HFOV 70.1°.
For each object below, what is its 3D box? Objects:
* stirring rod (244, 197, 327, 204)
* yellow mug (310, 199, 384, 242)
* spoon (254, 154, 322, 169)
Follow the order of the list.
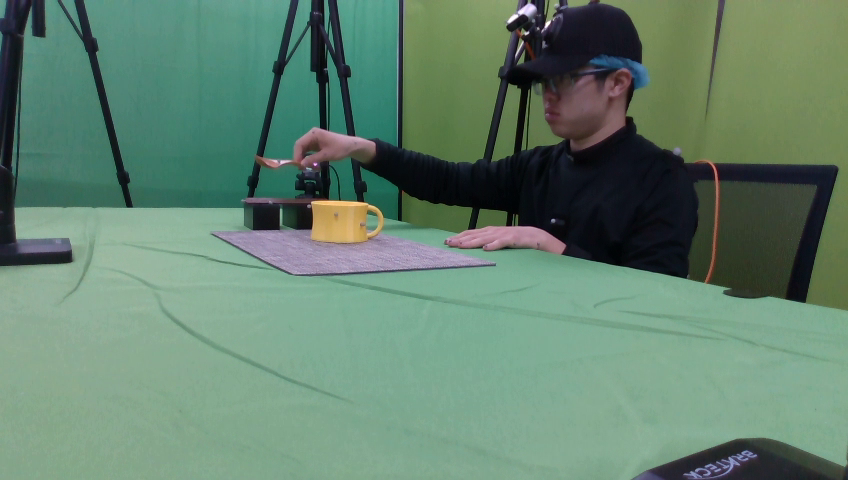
[{"bbox_3d":[-0.270,-0.078,1.200,0.177,0.006,0.014,-2,43,-37],"label":"stirring rod"},{"bbox_3d":[-0.132,-0.035,1.054,0.131,0.064,0.099,0,8,-23],"label":"yellow mug"},{"bbox_3d":[-0.267,-0.157,1.220,0.041,0.021,0.195,29,18,27],"label":"spoon"}]
